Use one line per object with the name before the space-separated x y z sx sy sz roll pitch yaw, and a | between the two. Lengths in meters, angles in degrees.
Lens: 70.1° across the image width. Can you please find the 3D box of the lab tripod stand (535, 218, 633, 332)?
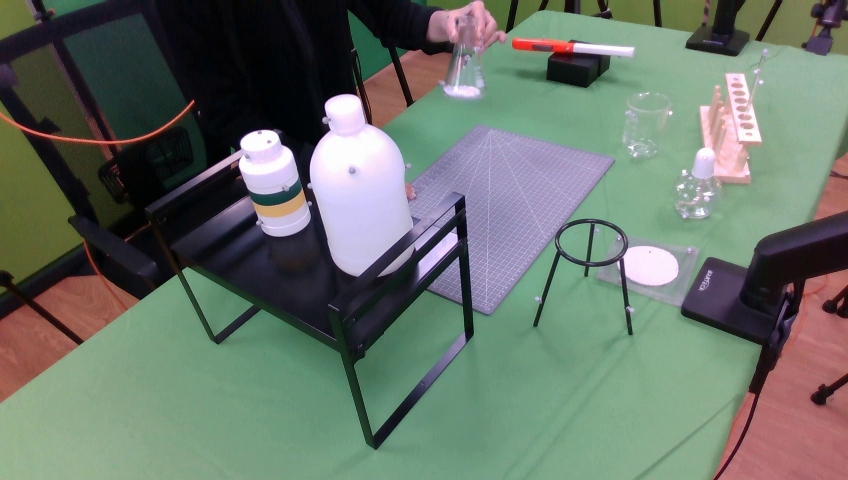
lab tripod stand | 0.215 0.050 0.803 0.148 0.132 0.147 -4 42 4

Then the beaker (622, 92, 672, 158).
beaker | 0.402 -0.210 1.106 0.074 0.101 0.083 -9 40 -2

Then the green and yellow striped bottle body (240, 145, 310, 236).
green and yellow striped bottle body | -0.181 -0.068 0.729 0.063 0.120 0.063 -4 40 4

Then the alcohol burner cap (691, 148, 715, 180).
alcohol burner cap | 0.432 -0.120 0.930 0.034 0.048 0.033 -7 48 8

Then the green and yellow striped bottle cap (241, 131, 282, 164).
green and yellow striped bottle cap | -0.187 -0.107 0.695 0.045 0.020 0.045 -3 39 3

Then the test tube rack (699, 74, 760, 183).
test tube rack | 0.547 -0.208 1.095 0.066 0.085 0.242 6 42 15

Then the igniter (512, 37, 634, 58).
igniter | 0.328 -0.433 1.360 0.275 0.025 0.057 12 33 20

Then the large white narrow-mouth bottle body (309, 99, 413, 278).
large white narrow-mouth bottle body | -0.068 -0.057 0.645 0.102 0.195 0.101 -3 42 4

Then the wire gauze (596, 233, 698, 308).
wire gauze | 0.331 0.038 0.897 0.124 0.011 0.121 18 47 26

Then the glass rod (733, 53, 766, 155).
glass rod | 0.540 -0.220 1.007 0.008 0.201 0.008 -5 45 6

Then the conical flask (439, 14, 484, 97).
conical flask | 0.065 -0.297 0.974 0.075 0.122 0.075 4 26 -1

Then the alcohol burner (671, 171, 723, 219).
alcohol burner | 0.434 -0.093 0.955 0.078 0.119 0.077 -3 43 3

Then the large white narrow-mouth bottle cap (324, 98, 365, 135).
large white narrow-mouth bottle cap | -0.076 -0.120 0.585 0.038 0.024 0.037 -3 42 3
